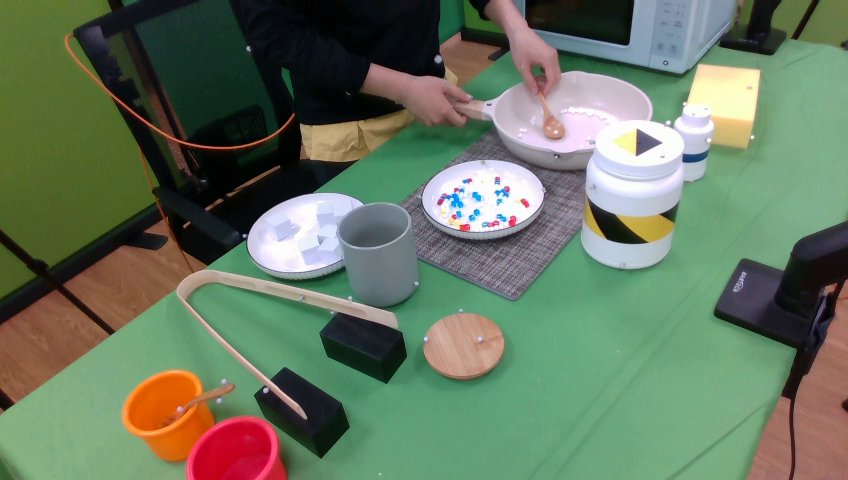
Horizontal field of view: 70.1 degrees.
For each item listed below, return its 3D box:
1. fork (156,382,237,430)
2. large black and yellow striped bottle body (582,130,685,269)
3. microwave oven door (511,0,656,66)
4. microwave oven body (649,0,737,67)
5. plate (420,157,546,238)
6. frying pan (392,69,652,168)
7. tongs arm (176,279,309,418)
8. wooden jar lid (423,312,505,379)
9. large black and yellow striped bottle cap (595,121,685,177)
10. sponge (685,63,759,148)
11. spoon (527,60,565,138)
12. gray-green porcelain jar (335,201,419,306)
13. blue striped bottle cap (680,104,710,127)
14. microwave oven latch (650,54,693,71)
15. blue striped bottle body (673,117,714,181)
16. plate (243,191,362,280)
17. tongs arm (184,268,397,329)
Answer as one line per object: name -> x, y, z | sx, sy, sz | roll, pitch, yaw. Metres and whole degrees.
fork -> -0.262, 0.189, 0.690 | 0.018, 0.206, 0.028 | 49, 43, -7
large black and yellow striped bottle body -> 0.301, -0.063, 0.877 | 0.131, 0.185, 0.130 | -4, 41, 4
microwave oven door -> 0.351, -0.540, 1.350 | 0.353, 0.245, 0.039 | 24, 50, 31
microwave oven body -> 0.475, -0.602, 1.411 | 0.438, 0.261, 0.327 | 23, 50, 32
plate -> 0.099, -0.067, 1.017 | 0.209, 0.038, 0.208 | -4, 40, 4
frying pan -> 0.175, -0.249, 1.166 | 0.487, 0.103, 0.306 | 12, 43, 9
tongs arm -> -0.255, 0.132, 0.801 | 0.028, 0.028, 0.384 | -41, 40, -23
wooden jar lid -> 0.053, 0.142, 0.800 | 0.108, 0.021, 0.108 | -5, 39, 4
large black and yellow striped bottle cap -> 0.292, -0.126, 0.821 | 0.115, 0.019, 0.114 | -5, 40, 4
sponge -> 0.569, -0.263, 1.164 | 0.117, 0.061, 0.207 | 12, 45, 22
spoon -> 0.238, -0.283, 1.202 | 0.041, 0.022, 0.193 | -18, 70, 12
gray-green porcelain jar -> -0.064, 0.024, 0.872 | 0.106, 0.127, 0.105 | -4, 41, 4
blue striped bottle cap -> 0.443, -0.205, 0.989 | 0.044, 0.021, 0.044 | -1, 41, 2
microwave oven latch -> 0.531, -0.386, 1.301 | 0.078, 0.029, 0.030 | 25, 51, 33
blue striped bottle body -> 0.449, -0.165, 1.022 | 0.063, 0.121, 0.063 | -5, 41, 4
plate -> -0.188, -0.005, 0.992 | 0.207, 0.039, 0.206 | -4, 40, 4
tongs arm -> -0.202, 0.084, 0.848 | 0.382, 0.027, 0.051 | 11, 44, 35
